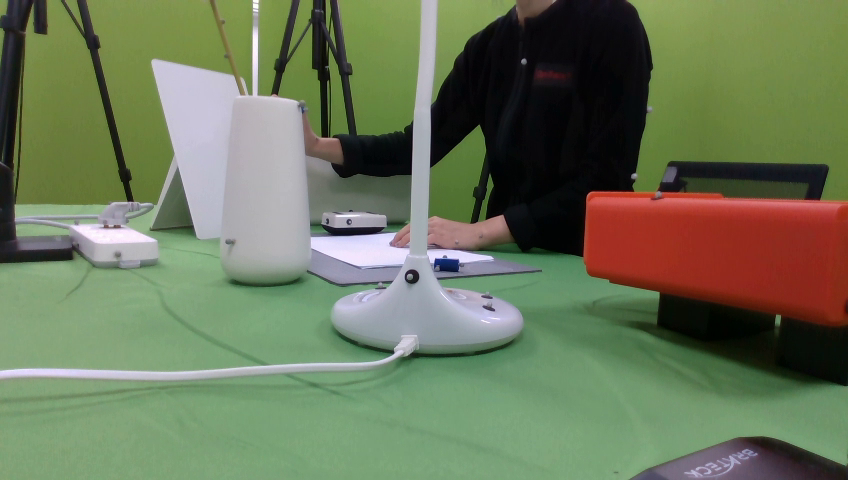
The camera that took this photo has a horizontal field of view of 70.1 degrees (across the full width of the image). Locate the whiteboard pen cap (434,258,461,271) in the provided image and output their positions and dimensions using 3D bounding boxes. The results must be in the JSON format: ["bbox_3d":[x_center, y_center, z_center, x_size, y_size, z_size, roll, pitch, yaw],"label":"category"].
[{"bbox_3d":[0.029,0.031,0.770,0.033,0.018,0.018,4,8,8],"label":"whiteboard pen cap"}]

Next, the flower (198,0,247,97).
[{"bbox_3d":[-0.187,-0.133,0.648,0.038,0.362,0.044,0,21,43],"label":"flower"}]

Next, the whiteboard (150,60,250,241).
[{"bbox_3d":[-0.408,-0.139,1.093,0.143,0.305,0.218,-15,-1,26],"label":"whiteboard"}]

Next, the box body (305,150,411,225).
[{"bbox_3d":[-0.230,-0.126,1.372,0.366,0.160,0.253,-2,9,-33],"label":"box body"}]

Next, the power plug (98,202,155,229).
[{"bbox_3d":[-0.416,-0.027,0.848,0.073,0.052,0.035,0,8,-28],"label":"power plug"}]

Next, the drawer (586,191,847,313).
[{"bbox_3d":[0.281,0.001,0.513,0.195,0.073,0.210,-1,8,-29],"label":"drawer"}]

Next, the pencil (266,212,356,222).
[{"bbox_3d":[-0.244,-0.049,1.318,0.195,0.012,0.012,4,7,-12],"label":"pencil"}]

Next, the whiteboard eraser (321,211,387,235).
[{"bbox_3d":[-0.128,-0.031,1.108,0.113,0.042,0.055,-4,8,-38],"label":"whiteboard eraser"}]

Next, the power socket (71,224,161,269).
[{"bbox_3d":[-0.408,0.004,0.793,0.072,0.032,0.225,-2,8,-38],"label":"power socket"}]

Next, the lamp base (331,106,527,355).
[{"bbox_3d":[0.006,-0.012,0.478,0.161,0.180,0.179,2,10,2],"label":"lamp base"}]

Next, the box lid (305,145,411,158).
[{"bbox_3d":[-0.228,-0.200,1.361,0.373,0.015,0.262,-1,8,-33],"label":"box lid"}]

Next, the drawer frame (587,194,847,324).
[{"bbox_3d":[0.285,0.004,0.508,0.203,0.082,0.212,-1,6,-29],"label":"drawer frame"}]

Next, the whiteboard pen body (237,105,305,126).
[{"bbox_3d":[-0.270,-0.214,1.053,0.140,0.017,0.017,-8,3,22],"label":"whiteboard pen body"}]

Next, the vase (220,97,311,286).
[{"bbox_3d":[-0.172,-0.052,0.662,0.098,0.200,0.098,3,8,0],"label":"vase"}]
